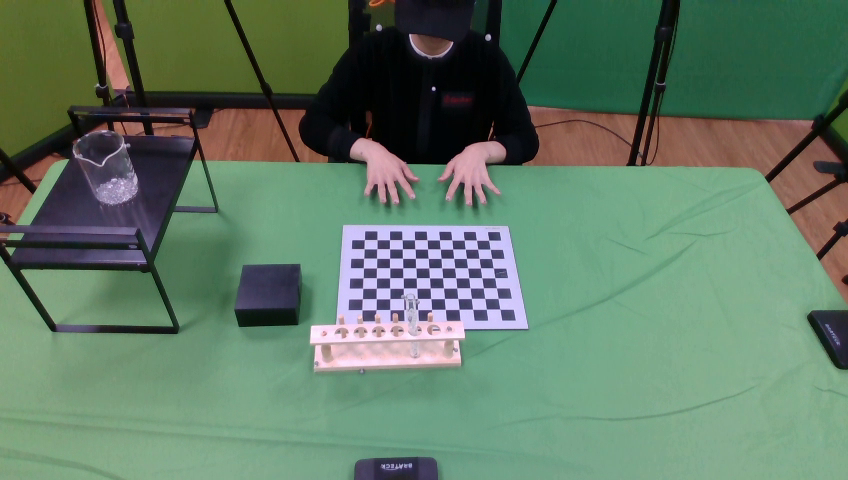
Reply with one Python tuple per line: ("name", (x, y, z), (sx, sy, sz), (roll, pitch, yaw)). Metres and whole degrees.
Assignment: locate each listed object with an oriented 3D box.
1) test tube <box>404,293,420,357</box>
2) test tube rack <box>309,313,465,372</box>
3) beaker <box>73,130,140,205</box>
("test tube", (-0.018, 0.136, 0.948), (0.017, 0.151, 0.017), (-2, 44, 2))
("test tube rack", (-0.059, 0.161, 0.990), (0.242, 0.085, 0.066), (-1, 46, -5))
("beaker", (-0.500, -0.110, 0.963), (0.074, 0.101, 0.083), (-14, 49, -16))
